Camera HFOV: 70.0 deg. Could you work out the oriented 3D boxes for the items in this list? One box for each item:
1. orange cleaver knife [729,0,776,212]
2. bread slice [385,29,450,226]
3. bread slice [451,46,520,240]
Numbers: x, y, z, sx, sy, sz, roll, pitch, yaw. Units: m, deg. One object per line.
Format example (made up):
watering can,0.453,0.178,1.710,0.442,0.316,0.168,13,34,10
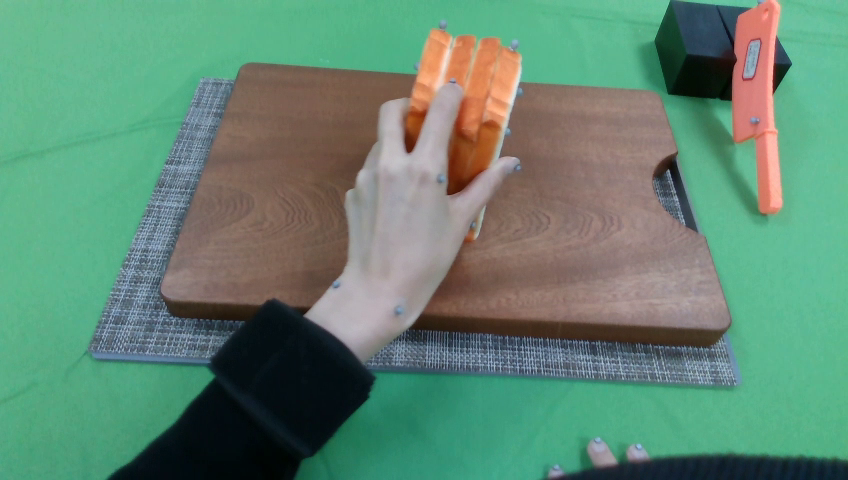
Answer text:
orange cleaver knife,0.303,-0.124,0.561,0.012,0.077,0.210,5,80,-1
bread slice,-0.003,-0.087,0.443,0.018,0.108,0.133,14,44,-2
bread slice,0.047,-0.078,0.440,0.019,0.105,0.130,15,46,3
